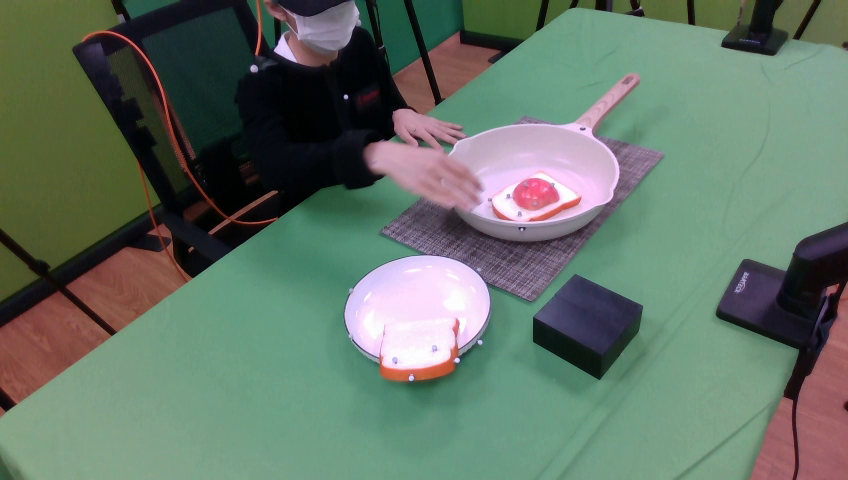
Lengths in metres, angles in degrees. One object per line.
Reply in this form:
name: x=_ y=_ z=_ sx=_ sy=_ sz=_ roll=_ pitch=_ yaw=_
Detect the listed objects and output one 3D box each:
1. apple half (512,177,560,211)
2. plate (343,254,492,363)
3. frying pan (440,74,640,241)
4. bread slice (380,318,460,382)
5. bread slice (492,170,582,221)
apple half: x=0.184 y=-0.085 z=1.001 sx=0.081 sy=0.033 sz=0.081 roll=-2 pitch=40 yaw=2
plate: x=-0.008 y=0.100 z=0.847 sx=0.207 sy=0.039 sz=0.206 roll=-4 pitch=40 yaw=4
frying pan: x=0.245 y=-0.161 z=1.059 sx=0.304 sy=0.103 sz=0.489 roll=30 pitch=61 yaw=35
bread slice: x=-0.005 y=0.137 z=0.770 sx=0.105 sy=0.019 sz=0.131 roll=-6 pitch=19 yaw=4
bread slice: x=0.183 y=-0.066 z=1.015 sx=0.135 sy=0.018 sz=0.106 roll=-28 pitch=43 yaw=-23
